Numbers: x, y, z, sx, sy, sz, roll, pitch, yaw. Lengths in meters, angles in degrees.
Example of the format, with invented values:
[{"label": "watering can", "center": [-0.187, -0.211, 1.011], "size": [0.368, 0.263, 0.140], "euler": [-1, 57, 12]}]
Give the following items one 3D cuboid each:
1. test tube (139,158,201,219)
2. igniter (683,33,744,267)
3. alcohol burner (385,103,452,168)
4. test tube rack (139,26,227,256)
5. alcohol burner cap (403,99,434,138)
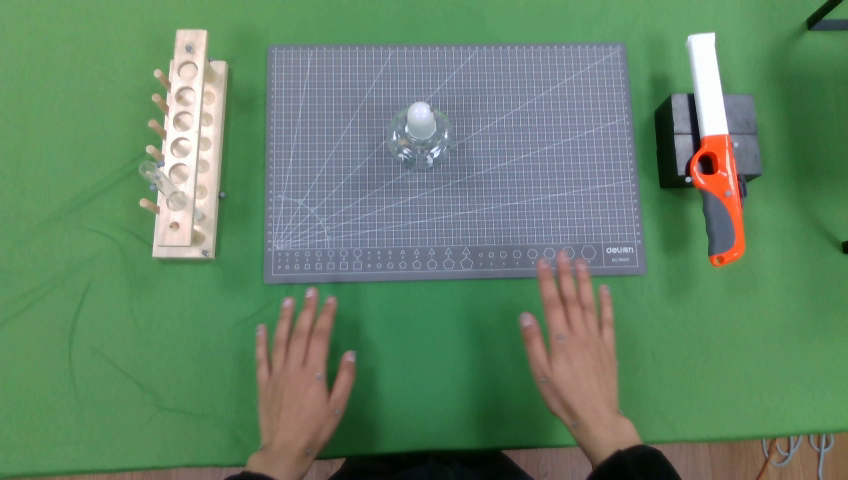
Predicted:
[{"label": "test tube", "center": [-0.257, -0.049, 0.622], "size": [0.017, 0.151, 0.017], "euler": [1, 75, -4]}, {"label": "igniter", "center": [0.328, -0.106, 0.692], "size": [0.057, 0.025, 0.275], "euler": [-3, 79, 8]}, {"label": "alcohol burner", "center": [-0.006, -0.125, 0.681], "size": [0.078, 0.119, 0.077], "euler": [0, 81, -2]}, {"label": "test tube rack", "center": [-0.275, -0.108, 0.682], "size": [0.067, 0.085, 0.241], "euler": [1, 80, -2]}, {"label": "alcohol burner cap", "center": [-0.006, -0.132, 0.645], "size": [0.034, 0.048, 0.033], "euler": [0, 78, 0]}]
